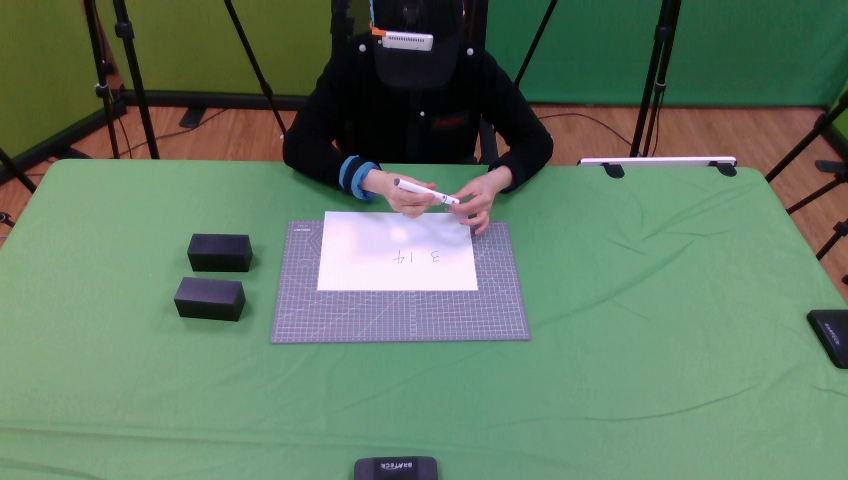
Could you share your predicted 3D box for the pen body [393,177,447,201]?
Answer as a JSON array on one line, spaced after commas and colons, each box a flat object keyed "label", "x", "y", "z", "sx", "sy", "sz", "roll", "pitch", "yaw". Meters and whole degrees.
[{"label": "pen body", "x": 0.004, "y": -0.094, "z": 1.153, "sx": 0.145, "sy": 0.017, "sz": 0.017, "roll": 16, "pitch": 38, "yaw": -33}]

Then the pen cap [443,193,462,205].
[{"label": "pen cap", "x": 0.055, "y": -0.079, "z": 1.186, "sx": 0.038, "sy": 0.017, "sz": 0.017, "roll": 15, "pitch": 39, "yaw": -30}]
